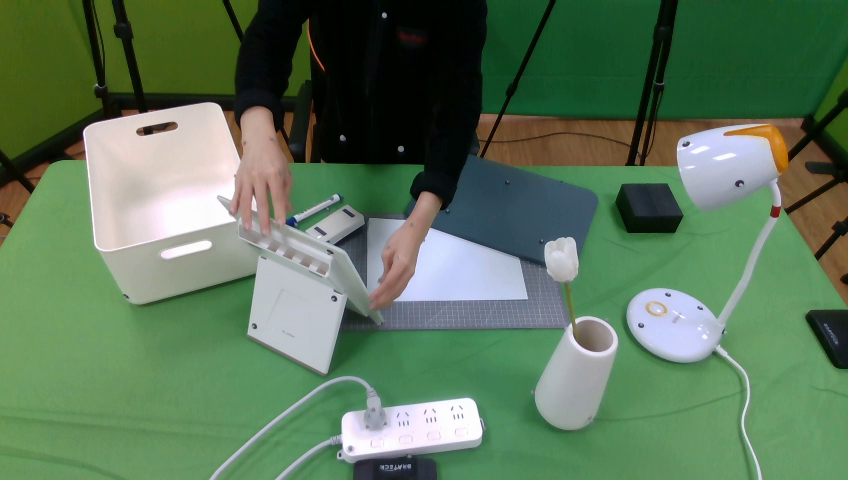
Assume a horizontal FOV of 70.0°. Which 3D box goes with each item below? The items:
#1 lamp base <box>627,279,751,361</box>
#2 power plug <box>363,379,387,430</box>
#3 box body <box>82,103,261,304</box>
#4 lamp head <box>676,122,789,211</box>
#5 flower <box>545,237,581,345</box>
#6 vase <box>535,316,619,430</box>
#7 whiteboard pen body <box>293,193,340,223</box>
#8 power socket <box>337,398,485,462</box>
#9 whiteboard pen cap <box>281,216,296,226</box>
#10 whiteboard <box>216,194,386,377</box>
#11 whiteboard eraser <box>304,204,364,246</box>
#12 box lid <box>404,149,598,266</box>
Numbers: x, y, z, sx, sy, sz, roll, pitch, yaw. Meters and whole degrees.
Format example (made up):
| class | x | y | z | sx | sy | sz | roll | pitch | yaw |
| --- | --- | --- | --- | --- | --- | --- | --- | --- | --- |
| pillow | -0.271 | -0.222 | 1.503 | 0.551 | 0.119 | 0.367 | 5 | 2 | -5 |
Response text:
| class | x | y | z | sx | sy | sz | roll | pitch | yaw |
| --- | --- | --- | --- | --- | --- | --- | --- | --- | --- |
| lamp base | 0.460 | 0.100 | 1.027 | 0.178 | 0.181 | 0.160 | 27 | 51 | 17 |
| power plug | -0.071 | 0.252 | 0.911 | 0.035 | 0.053 | 0.072 | 3 | 40 | 0 |
| box body | -0.465 | -0.077 | 1.137 | 0.254 | 0.161 | 0.361 | -16 | 50 | -19 |
| lamp head | 0.423 | -0.104 | 0.819 | 0.122 | 0.113 | 0.112 | -13 | 33 | 40 |
| flower | 0.213 | 0.137 | 0.846 | 0.038 | 0.364 | 0.044 | 21 | 55 | 40 |
| vase | 0.229 | 0.200 | 0.901 | 0.098 | 0.201 | 0.097 | 3 | 46 | -3 |
| whiteboard pen body | -0.230 | -0.061 | 1.243 | 0.141 | 0.017 | 0.017 | -32 | 56 | -30 |
| power socket | -0.018 | 0.285 | 0.914 | 0.227 | 0.033 | 0.071 | -4 | 46 | -8 |
| whiteboard pen cap | -0.273 | -0.034 | 1.213 | 0.033 | 0.018 | 0.018 | -32 | 56 | -31 |
| whiteboard | -0.212 | 0.093 | 0.939 | 0.216 | 0.307 | 0.143 | 24 | 70 | 17 |
| whiteboard eraser | -0.175 | -0.022 | 1.188 | 0.055 | 0.042 | 0.112 | 36 | 53 | 26 |
| box lid | 0.171 | -0.074 | 1.289 | 0.371 | 0.015 | 0.262 | 19 | 47 | 14 |
